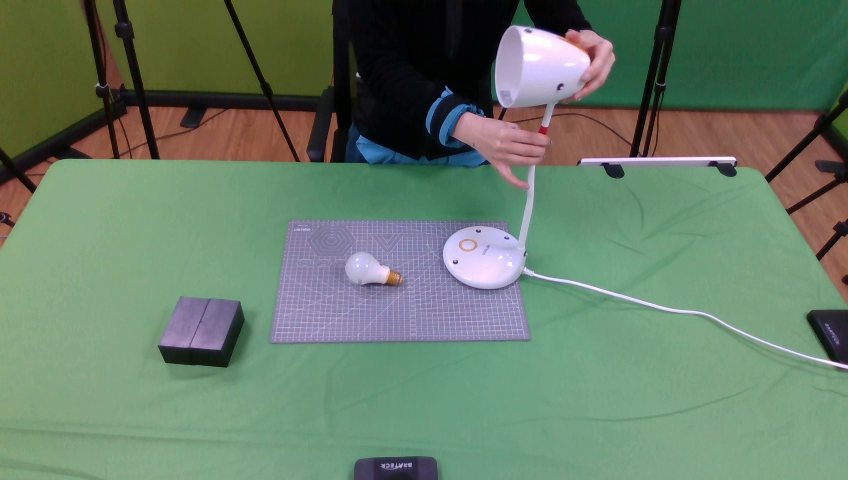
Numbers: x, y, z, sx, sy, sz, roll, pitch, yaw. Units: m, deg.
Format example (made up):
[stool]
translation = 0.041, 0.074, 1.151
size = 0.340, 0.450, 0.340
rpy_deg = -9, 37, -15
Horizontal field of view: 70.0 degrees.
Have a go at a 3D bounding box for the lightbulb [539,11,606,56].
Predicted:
[lightbulb]
translation = 0.215, -0.300, 0.864
size = 0.108, 0.060, 0.059
rpy_deg = -21, 51, -18

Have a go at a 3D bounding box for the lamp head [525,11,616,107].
[lamp head]
translation = 0.221, -0.249, 0.887
size = 0.112, 0.123, 0.111
rpy_deg = -25, 46, 29

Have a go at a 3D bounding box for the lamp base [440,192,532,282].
[lamp base]
translation = 0.127, -0.032, 1.123
size = 0.179, 0.181, 0.159
rpy_deg = 11, 46, 2
